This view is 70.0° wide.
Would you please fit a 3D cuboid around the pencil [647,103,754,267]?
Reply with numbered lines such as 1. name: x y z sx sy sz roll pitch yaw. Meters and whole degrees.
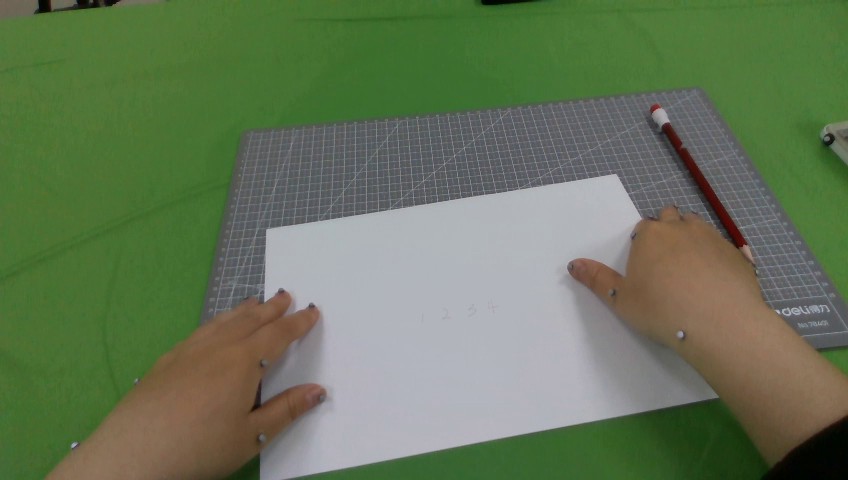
1. pencil: 0.225 -0.053 0.501 0.012 0.012 0.192 -8 50 -3

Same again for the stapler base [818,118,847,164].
1. stapler base: 0.377 -0.063 0.493 0.041 0.025 0.129 -11 50 -2
